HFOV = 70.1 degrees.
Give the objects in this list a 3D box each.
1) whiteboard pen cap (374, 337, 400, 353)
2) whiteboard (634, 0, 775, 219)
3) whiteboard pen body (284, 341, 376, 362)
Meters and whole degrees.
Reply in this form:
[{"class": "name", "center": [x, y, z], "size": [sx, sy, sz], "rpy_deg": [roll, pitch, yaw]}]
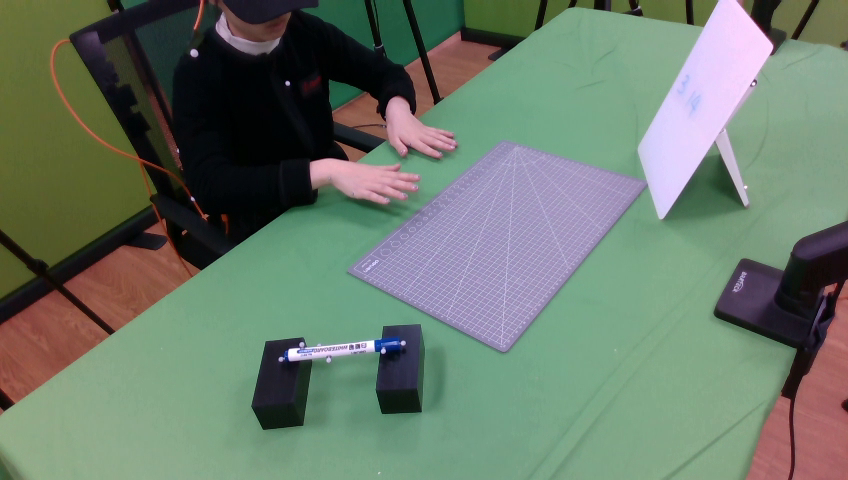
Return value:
[{"class": "whiteboard pen cap", "center": [-0.047, 0.131, 0.753], "size": [0.033, 0.018, 0.018], "rpy_deg": [-8, 40, 3]}, {"class": "whiteboard", "center": [0.485, -0.193, 0.957], "size": [0.144, 0.305, 0.216], "rpy_deg": [14, 41, -4]}, {"class": "whiteboard pen body", "center": [-0.105, 0.138, 0.754], "size": [0.141, 0.017, 0.017], "rpy_deg": [-6, 40, 2]}]
